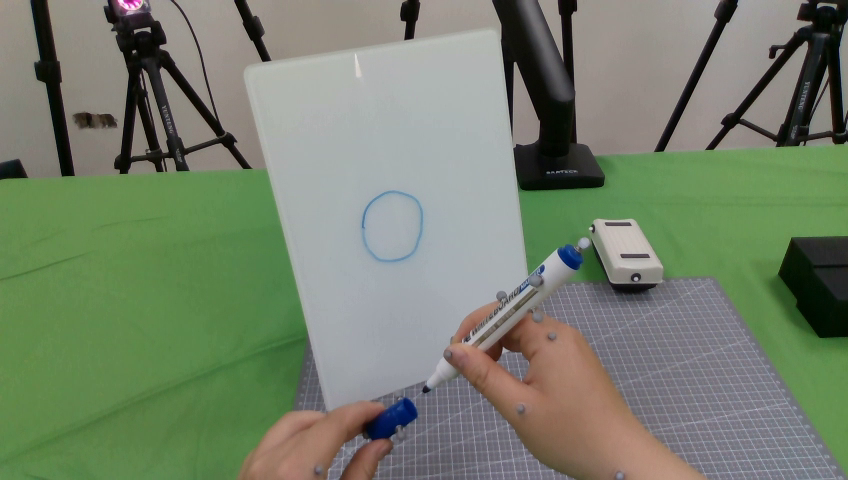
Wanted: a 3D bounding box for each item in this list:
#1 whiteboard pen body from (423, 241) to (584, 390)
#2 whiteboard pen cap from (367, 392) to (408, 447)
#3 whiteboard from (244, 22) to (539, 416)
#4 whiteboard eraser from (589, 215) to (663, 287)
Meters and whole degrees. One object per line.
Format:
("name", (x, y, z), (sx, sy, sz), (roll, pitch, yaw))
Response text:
("whiteboard pen body", (0.041, 0.050, 0.356), (0.017, 0.141, 0.017), (29, 32, -20))
("whiteboard pen cap", (-0.024, 0.115, 0.387), (0.018, 0.018, 0.033), (15, 70, 22))
("whiteboard", (-0.033, -0.029, 0.585), (0.218, 0.307, 0.142), (-15, 18, -17))
("whiteboard eraser", (0.228, 0.012, 0.694), (0.055, 0.042, 0.111), (-3, 31, 2))
